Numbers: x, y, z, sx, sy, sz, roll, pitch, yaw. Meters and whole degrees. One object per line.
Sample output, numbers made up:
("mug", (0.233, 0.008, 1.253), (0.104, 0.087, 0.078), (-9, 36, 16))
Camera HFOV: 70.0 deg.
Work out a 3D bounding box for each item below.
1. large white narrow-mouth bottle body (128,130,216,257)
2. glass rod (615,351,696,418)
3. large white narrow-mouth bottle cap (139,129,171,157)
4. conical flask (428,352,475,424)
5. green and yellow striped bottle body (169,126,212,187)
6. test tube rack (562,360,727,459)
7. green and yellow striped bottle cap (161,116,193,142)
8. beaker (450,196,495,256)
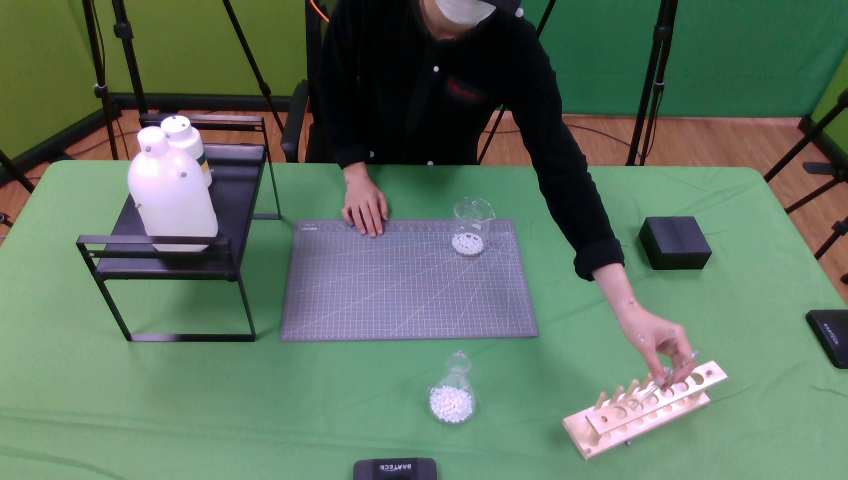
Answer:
("large white narrow-mouth bottle body", (-0.365, -0.072, 0.872), (0.102, 0.195, 0.101), (3, 47, -3))
("glass rod", (0.319, 0.206, 0.847), (0.008, 0.200, 0.008), (10, 48, -12))
("large white narrow-mouth bottle cap", (-0.358, -0.130, 0.808), (0.038, 0.024, 0.037), (3, 47, -3))
("conical flask", (0.046, 0.220, 0.920), (0.075, 0.122, 0.075), (2, 46, -2))
("green and yellow striped bottle body", (-0.388, -0.139, 0.984), (0.063, 0.120, 0.063), (2, 46, -2))
("test tube rack", (0.341, 0.247, 0.940), (0.243, 0.085, 0.066), (-16, 49, -18))
("green and yellow striped bottle cap", (-0.387, -0.174, 0.946), (0.045, 0.020, 0.045), (3, 44, -3))
("beaker", (0.092, -0.024, 1.170), (0.084, 0.101, 0.073), (15, 48, 10))
